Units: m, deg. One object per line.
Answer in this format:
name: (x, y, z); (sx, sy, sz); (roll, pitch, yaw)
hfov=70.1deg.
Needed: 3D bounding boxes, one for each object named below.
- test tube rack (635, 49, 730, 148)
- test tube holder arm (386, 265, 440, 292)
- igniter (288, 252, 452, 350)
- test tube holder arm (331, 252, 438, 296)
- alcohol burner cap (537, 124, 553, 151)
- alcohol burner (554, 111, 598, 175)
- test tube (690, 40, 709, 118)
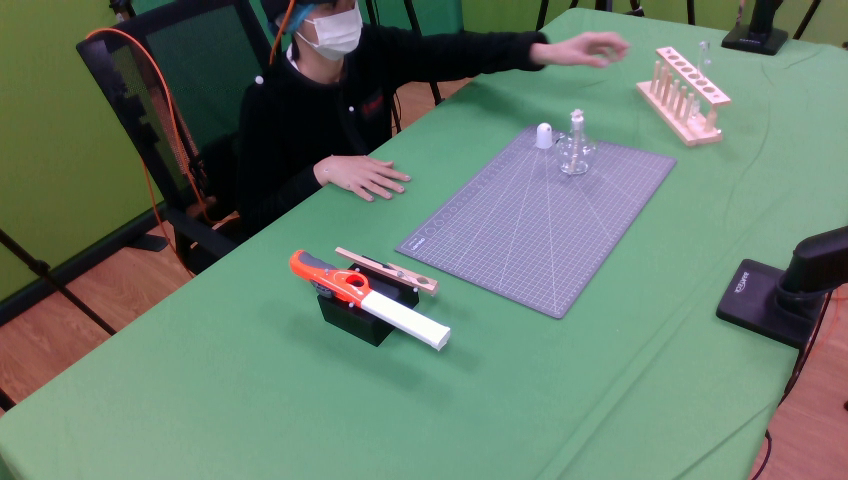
test tube rack: (0.497, -0.283, 1.185); (0.067, 0.085, 0.240); (-10, 40, -2)
test tube holder arm: (-0.018, 0.055, 0.843); (0.087, 0.015, 0.010); (18, 45, 26)
igniter: (-0.084, 0.077, 0.821); (0.274, 0.025, 0.057); (23, 48, 27)
test tube holder arm: (-0.060, 0.046, 0.858); (0.177, 0.015, 0.013); (16, 44, 24)
alcohol burner cap: (0.232, -0.199, 1.158); (0.034, 0.048, 0.033); (-5, 40, 5)
alcohol burner: (0.270, -0.175, 1.066); (0.078, 0.119, 0.077); (-4, 42, 4)
test tube: (0.510, -0.295, 1.120); (0.017, 0.151, 0.017); (-6, 39, 6)
